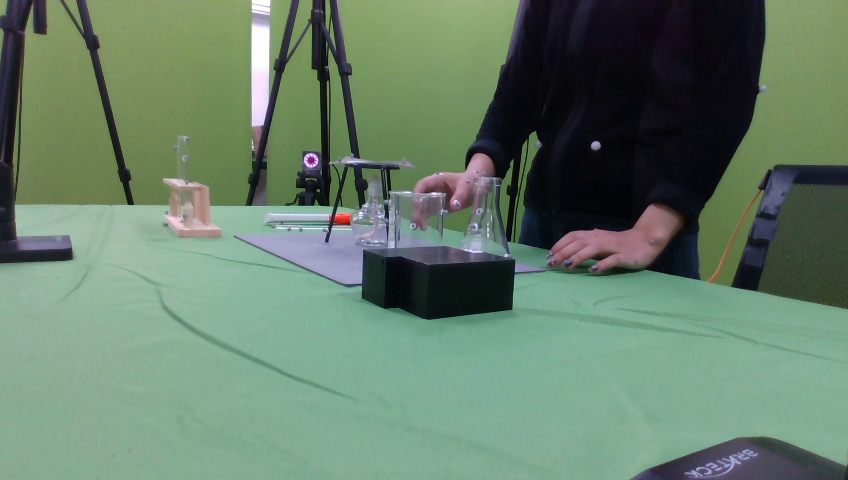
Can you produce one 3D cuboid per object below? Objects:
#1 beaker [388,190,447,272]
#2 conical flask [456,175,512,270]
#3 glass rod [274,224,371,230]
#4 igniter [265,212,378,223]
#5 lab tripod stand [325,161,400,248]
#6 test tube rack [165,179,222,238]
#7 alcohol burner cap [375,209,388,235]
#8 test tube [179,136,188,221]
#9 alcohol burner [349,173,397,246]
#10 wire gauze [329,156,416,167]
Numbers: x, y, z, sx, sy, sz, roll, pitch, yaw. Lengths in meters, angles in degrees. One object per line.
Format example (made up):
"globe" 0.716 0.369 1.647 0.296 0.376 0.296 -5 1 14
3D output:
"beaker" -0.010 -0.013 0.771 0.074 0.100 0.084 3 7 4
"conical flask" 0.082 -0.025 0.801 0.075 0.122 0.075 2 7 0
"glass rod" -0.193 -0.024 1.177 0.201 0.008 0.008 1 7 -31
"igniter" -0.196 -0.048 1.286 0.278 0.025 0.057 -2 -2 -30
"lab tripod stand" -0.083 -0.060 0.977 0.148 0.131 0.148 4 8 0
"test tube rack" -0.423 -0.062 1.098 0.067 0.085 0.241 -2 9 -28
"alcohol burner cap" -0.076 -0.035 1.145 0.034 0.048 0.034 1 7 0
"test tube" -0.425 -0.108 1.070 0.017 0.150 0.017 4 9 0
"alcohol burner" -0.081 -0.050 0.982 0.078 0.119 0.078 4 8 0
"wire gauze" -0.079 -0.126 0.972 0.121 0.011 0.125 4 8 5
